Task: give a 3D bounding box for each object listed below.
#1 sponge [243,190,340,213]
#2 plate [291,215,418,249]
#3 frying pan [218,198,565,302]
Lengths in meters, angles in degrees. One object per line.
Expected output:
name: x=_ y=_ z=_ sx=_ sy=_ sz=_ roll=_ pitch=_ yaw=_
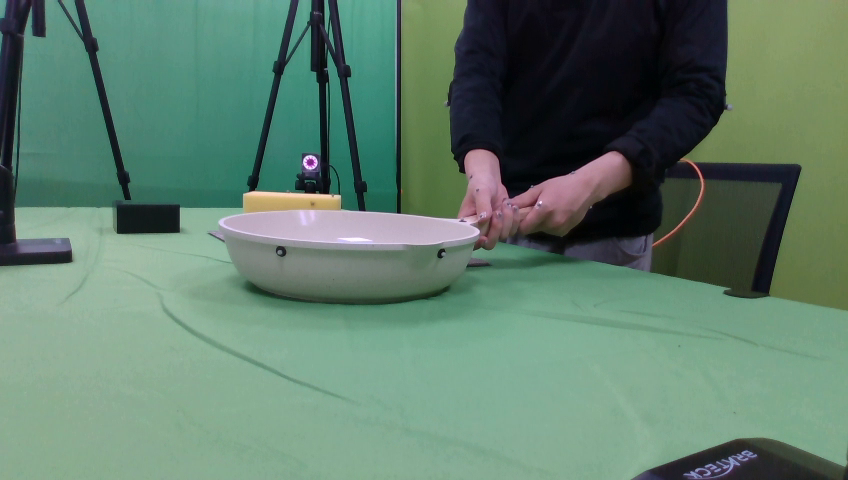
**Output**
sponge: x=-0.299 y=-0.077 z=1.388 sx=0.207 sy=0.061 sz=0.118 roll=2 pitch=8 yaw=-7
plate: x=-0.115 y=-0.013 z=1.002 sx=0.208 sy=0.039 sz=0.207 roll=2 pitch=7 yaw=0
frying pan: x=0.003 y=-0.010 z=0.754 sx=0.490 sy=0.102 sz=0.305 roll=-13 pitch=16 yaw=-32
